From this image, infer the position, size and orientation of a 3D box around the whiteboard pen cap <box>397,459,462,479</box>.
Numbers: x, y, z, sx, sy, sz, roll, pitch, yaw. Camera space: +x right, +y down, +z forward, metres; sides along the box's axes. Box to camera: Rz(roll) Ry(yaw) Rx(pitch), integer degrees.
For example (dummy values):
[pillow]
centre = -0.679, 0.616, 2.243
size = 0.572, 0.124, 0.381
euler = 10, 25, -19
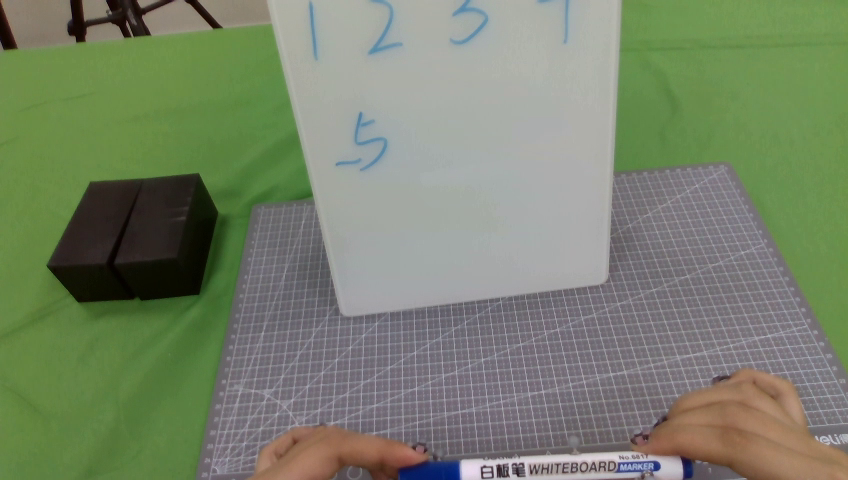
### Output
[whiteboard pen cap]
centre = 0.003, 0.120, 0.309
size = 0.033, 0.018, 0.018
euler = -1, 49, 1

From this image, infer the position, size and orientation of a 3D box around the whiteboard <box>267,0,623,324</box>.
[whiteboard]
centre = 0.020, -0.112, 0.463
size = 0.217, 0.308, 0.142
euler = -7, 30, 1

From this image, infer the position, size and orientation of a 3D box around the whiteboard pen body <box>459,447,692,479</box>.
[whiteboard pen body]
centre = 0.063, 0.117, 0.307
size = 0.140, 0.017, 0.017
euler = -5, 49, 6
